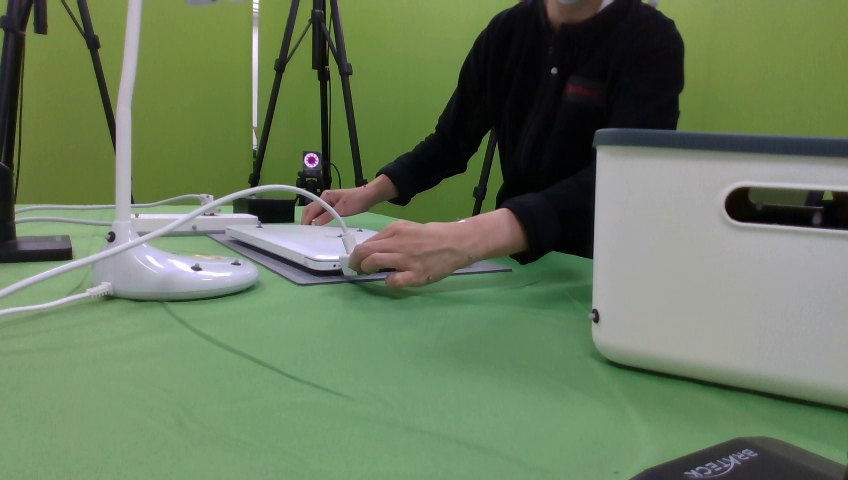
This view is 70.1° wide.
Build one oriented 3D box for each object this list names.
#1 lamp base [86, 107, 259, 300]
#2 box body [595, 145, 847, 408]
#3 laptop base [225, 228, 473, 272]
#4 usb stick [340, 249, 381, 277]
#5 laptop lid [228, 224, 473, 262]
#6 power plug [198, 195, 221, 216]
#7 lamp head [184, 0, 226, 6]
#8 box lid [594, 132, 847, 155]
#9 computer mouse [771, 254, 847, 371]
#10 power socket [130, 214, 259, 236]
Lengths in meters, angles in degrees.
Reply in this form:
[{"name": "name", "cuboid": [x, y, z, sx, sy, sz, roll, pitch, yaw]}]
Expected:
[{"name": "lamp base", "cuboid": [-0.254, -0.039, 0.603, 0.160, 0.180, 0.179, 5, 10, 18]}, {"name": "box body", "cuboid": [0.309, 0.007, 0.509, 0.253, 0.160, 0.366, 6, 8, 29]}, {"name": "laptop base", "cuboid": [-0.125, 0.011, 0.889, 0.237, 0.023, 0.352, 1, 7, -35]}, {"name": "usb stick", "cuboid": [-0.075, 0.026, 0.673, 0.021, 0.027, 0.059, -29, 12, -38]}, {"name": "laptop lid", "cuboid": [-0.123, 0.000, 0.888, 0.243, 0.013, 0.355, 1, 7, -33]}, {"name": "power plug", "cuboid": [-0.385, -0.055, 1.088, 0.035, 0.052, 0.072, -2, 6, -24]}, {"name": "lamp head", "cuboid": [-0.229, -0.320, 0.627, 0.112, 0.112, 0.123, 6, -35, 26]}, {"name": "box lid", "cuboid": [0.310, -0.066, 0.499, 0.262, 0.015, 0.373, 7, 8, 29]}, {"name": "computer mouse", "cuboid": [0.344, 0.057, 0.519, 0.063, 0.041, 0.117, 12, 47, 3]}, {"name": "power socket", "cuboid": [-0.397, -0.028, 1.048, 0.228, 0.032, 0.072, -3, 7, -35]}]
